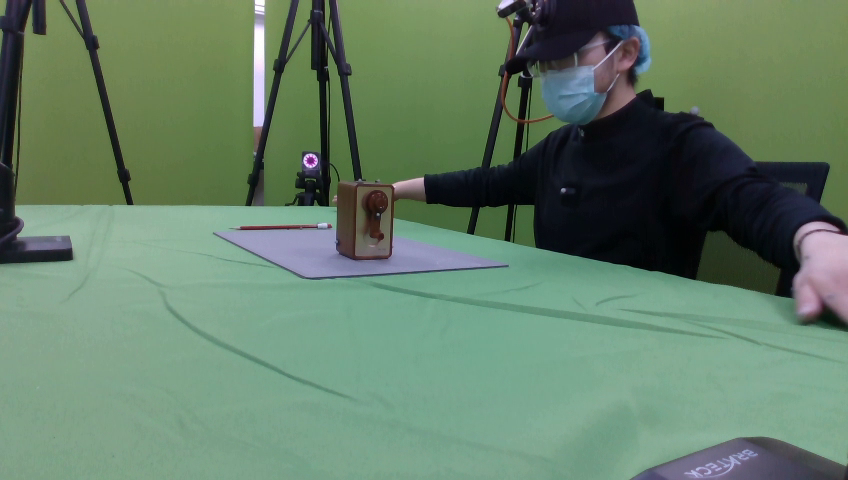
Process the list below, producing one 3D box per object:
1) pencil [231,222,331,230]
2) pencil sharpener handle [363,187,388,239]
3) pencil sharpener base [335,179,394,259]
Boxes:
[{"bbox_3d":[-0.272,-0.025,1.165,0.195,0.012,0.012,-3,9,-29],"label":"pencil"},{"bbox_3d":[-0.061,-0.035,0.809,0.036,0.067,0.030,4,6,-29],"label":"pencil sharpener handle"},{"bbox_3d":[-0.084,-0.030,0.855,0.061,0.107,0.076,-1,8,-28],"label":"pencil sharpener base"}]
